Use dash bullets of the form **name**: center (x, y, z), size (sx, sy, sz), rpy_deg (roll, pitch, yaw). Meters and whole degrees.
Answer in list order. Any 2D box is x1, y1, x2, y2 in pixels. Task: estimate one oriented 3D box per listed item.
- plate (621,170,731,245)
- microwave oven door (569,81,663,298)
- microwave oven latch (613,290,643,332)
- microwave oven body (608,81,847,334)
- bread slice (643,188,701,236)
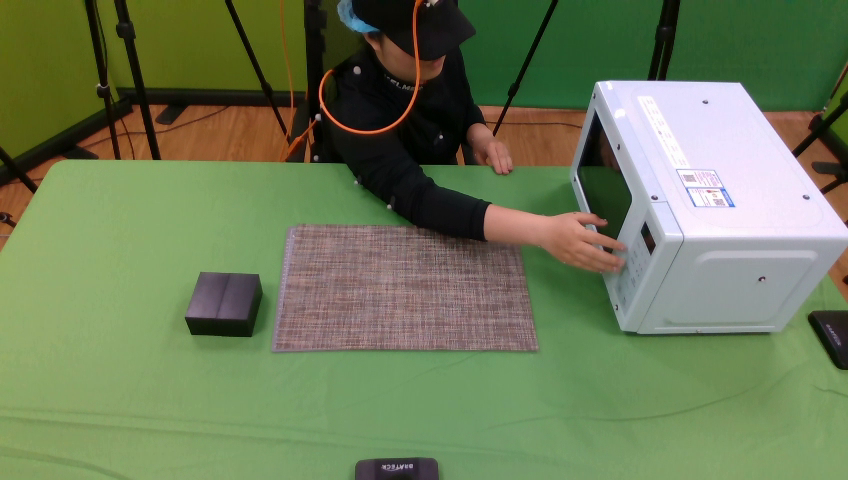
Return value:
- **plate**: center (0.490, -0.061, 1.193), size (0.209, 0.038, 0.208), rpy_deg (2, 45, -2)
- **microwave oven door**: center (0.353, -0.104, 1.147), size (0.039, 0.245, 0.353), rpy_deg (0, 46, -4)
- **microwave oven latch**: center (0.357, 0.124, 1.068), size (0.030, 0.029, 0.078), rpy_deg (1, 45, -2)
- **microwave oven body**: center (0.501, -0.070, 1.132), size (0.326, 0.261, 0.438), rpy_deg (-1, 45, -4)
- **bread slice**: center (0.494, -0.057, 1.196), size (0.105, 0.019, 0.131), rpy_deg (7, 43, 4)
